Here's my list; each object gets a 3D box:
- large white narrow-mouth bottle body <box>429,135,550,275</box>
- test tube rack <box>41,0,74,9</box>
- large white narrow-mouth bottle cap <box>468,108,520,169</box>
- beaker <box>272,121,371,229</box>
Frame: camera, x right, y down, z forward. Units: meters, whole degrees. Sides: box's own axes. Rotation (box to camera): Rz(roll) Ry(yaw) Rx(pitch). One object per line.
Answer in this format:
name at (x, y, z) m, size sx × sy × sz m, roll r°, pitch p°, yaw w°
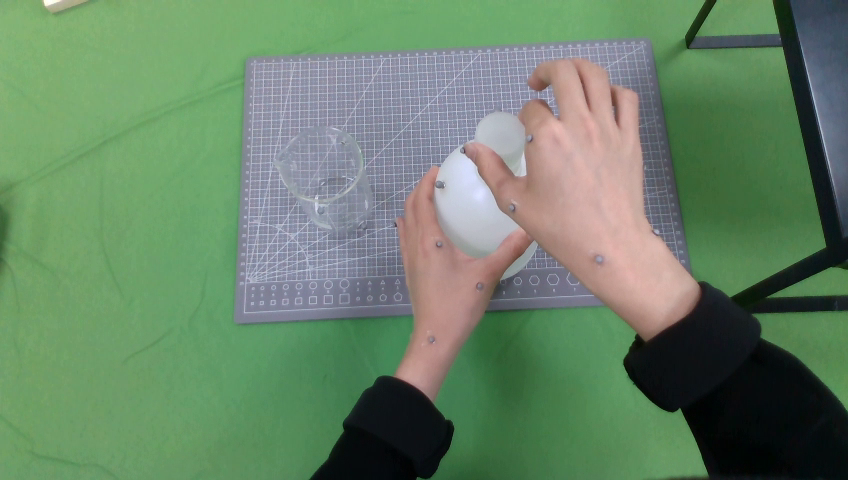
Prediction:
large white narrow-mouth bottle body at (0.056, -0.036, 0.522) m, size 0.102 × 0.196 × 0.101 m, roll -1°, pitch 74°, yaw 3°
test tube rack at (-0.339, -0.355, 0.683) m, size 0.242 × 0.085 × 0.066 m, roll -23°, pitch 74°, yaw -6°
large white narrow-mouth bottle cap at (0.048, -0.068, 0.413) m, size 0.038 × 0.024 × 0.037 m, roll -1°, pitch 74°, yaw 3°
beaker at (-0.093, -0.057, 0.580) m, size 0.084 × 0.101 × 0.073 m, roll 7°, pitch 73°, yaw 4°
